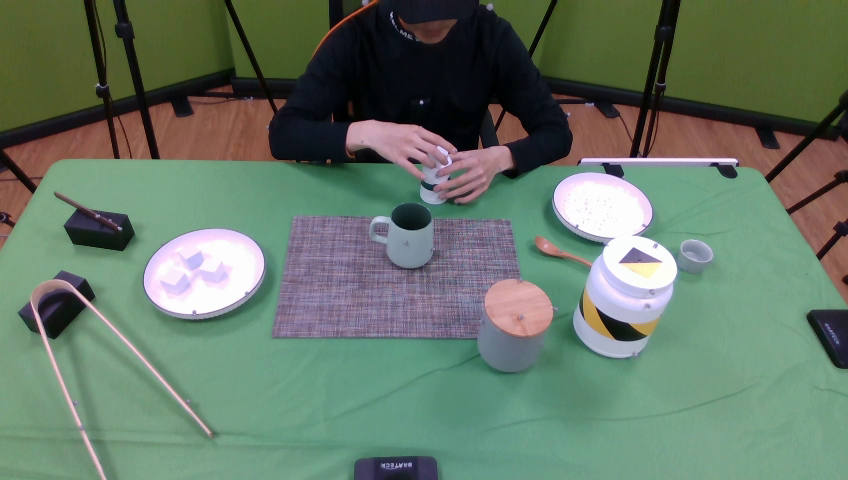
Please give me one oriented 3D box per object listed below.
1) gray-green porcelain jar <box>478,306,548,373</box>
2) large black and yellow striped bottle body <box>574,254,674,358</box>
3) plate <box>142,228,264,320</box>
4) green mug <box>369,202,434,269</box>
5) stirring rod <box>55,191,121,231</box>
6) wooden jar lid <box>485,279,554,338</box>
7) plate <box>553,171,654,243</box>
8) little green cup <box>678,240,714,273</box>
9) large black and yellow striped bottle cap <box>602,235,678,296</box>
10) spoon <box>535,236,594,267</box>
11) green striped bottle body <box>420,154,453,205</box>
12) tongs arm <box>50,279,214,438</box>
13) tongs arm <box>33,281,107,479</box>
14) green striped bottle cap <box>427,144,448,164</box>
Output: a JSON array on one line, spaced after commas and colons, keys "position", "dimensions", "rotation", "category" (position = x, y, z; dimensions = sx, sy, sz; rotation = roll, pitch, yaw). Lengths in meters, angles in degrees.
[{"position": [0.144, 0.148, 0.989], "dimensions": [0.106, 0.127, 0.105], "rotation": [2, 50, -2], "category": "gray-green porcelain jar"}, {"position": [0.335, 0.096, 1.014], "dimensions": [0.131, 0.185, 0.130], "rotation": [2, 46, -2], "category": "large black and yellow striped bottle body"}, {"position": [-0.394, 0.064, 1.095], "dimensions": [0.208, 0.039, 0.206], "rotation": [2, 46, -2], "category": "plate"}, {"position": [-0.042, -0.010, 1.140], "dimensions": [0.125, 0.105, 0.092], "rotation": [7, 46, 4], "category": "green mug"}, {"position": [-0.632, -0.055, 1.138], "dimensions": [0.175, 0.014, 0.006], "rotation": [24, 50, 19], "category": "stirring rod"}, {"position": [0.147, 0.108, 0.940], "dimensions": [0.108, 0.021, 0.107], "rotation": [4, 47, -4], "category": "wooden jar lid"}, {"position": [0.373, -0.066, 1.275], "dimensions": [0.209, 0.038, 0.208], "rotation": [2, 46, -2], "category": "plate"}, {"position": [0.530, 0.033, 1.190], "dimensions": [0.061, 0.039, 0.061], "rotation": [2, 46, -1], "category": "little green cup"}, {"position": [0.340, 0.037, 0.955], "dimensions": [0.115, 0.019, 0.114], "rotation": [2, 47, -1], "category": "large black and yellow striped bottle cap"}, {"position": [0.303, 0.040, 1.178], "dimensions": [0.193, 0.022, 0.041], "rotation": [25, 31, 19], "category": "spoon"}, {"position": [0.026, -0.137, 1.262], "dimensions": [0.063, 0.120, 0.063], "rotation": [3, 44, -3], "category": "green striped bottle body"}, {"position": [-0.459, 0.178, 0.949], "dimensions": [0.386, 0.028, 0.028], "rotation": [37, 60, 17], "category": "tongs arm"}, {"position": [-0.517, 0.214, 0.910], "dimensions": [0.051, 0.026, 0.383], "rotation": [-28, 63, -27], "category": "tongs arm"}, {"position": [0.028, -0.174, 1.225], "dimensions": [0.044, 0.020, 0.044], "rotation": [3, 45, -3], "category": "green striped bottle cap"}]
